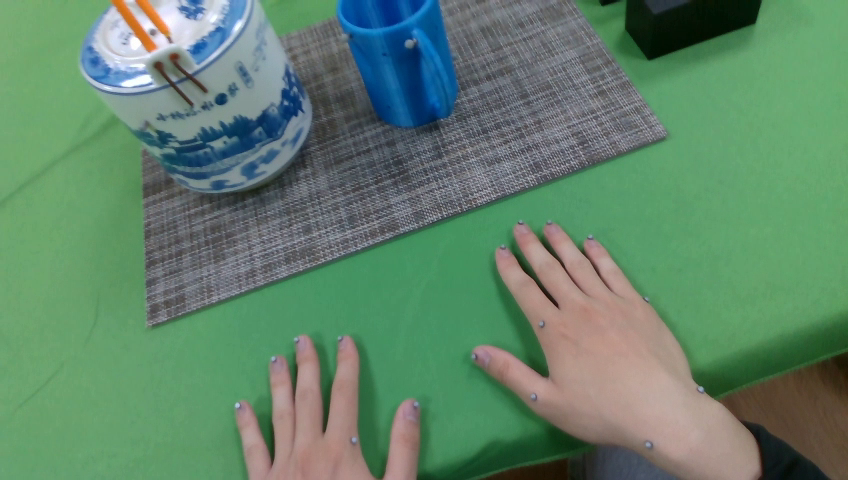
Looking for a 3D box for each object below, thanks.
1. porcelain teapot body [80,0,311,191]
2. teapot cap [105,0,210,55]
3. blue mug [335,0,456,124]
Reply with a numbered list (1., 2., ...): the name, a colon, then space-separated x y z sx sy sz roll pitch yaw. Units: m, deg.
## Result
1. porcelain teapot body: -0.203 -0.172 0.501 0.145 0.227 0.203 -26 56 -3
2. teapot cap: -0.201 -0.172 0.452 0.085 0.044 0.084 -6 55 8
3. blue mug: -0.012 -0.156 0.516 0.082 0.107 0.115 -34 57 -8
